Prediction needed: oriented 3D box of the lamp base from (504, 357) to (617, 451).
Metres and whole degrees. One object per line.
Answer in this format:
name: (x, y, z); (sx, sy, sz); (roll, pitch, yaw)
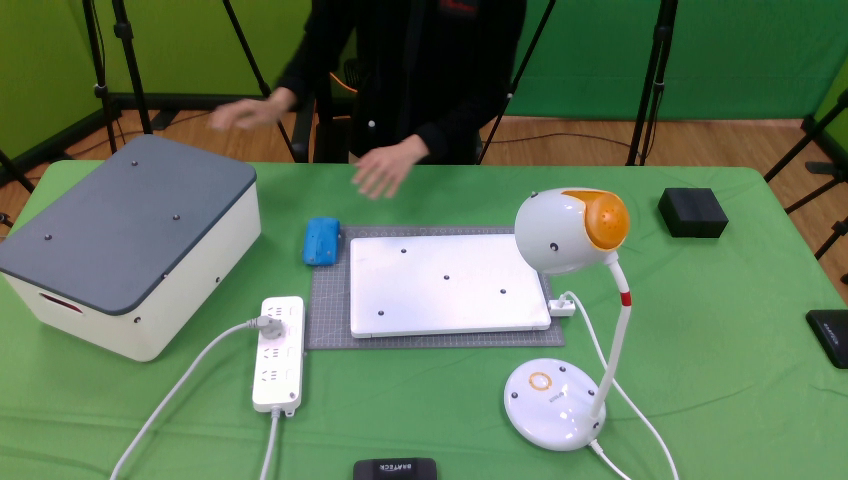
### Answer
lamp base: (0.220, 0.211, 0.903); (0.160, 0.181, 0.178); (-32, 59, -30)

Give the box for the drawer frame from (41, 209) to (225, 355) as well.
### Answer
drawer frame: (-0.490, 0.066, 1.043); (0.201, 0.083, 0.212); (16, 54, 13)

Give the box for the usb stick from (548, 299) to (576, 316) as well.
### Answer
usb stick: (0.239, 0.121, 1.084); (0.059, 0.027, 0.021); (-1, 52, -1)

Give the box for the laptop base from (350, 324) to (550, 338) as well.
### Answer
laptop base: (0.039, 0.081, 1.124); (0.355, 0.023, 0.234); (-2, 43, -6)

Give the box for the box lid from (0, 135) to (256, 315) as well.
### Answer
box lid: (-0.480, -0.044, 1.002); (0.263, 0.015, 0.370); (18, 47, 12)

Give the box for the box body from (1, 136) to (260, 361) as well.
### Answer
box body: (-0.482, 0.006, 1.056); (0.254, 0.161, 0.362); (17, 47, 12)

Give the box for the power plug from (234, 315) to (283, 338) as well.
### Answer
power plug: (-0.269, 0.143, 1.000); (0.072, 0.053, 0.035); (5, 47, 2)

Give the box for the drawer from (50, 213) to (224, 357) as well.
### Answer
drawer: (-0.492, 0.075, 1.057); (0.194, 0.073, 0.211); (18, 57, 10)

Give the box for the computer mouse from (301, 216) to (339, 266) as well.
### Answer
computer mouse: (-0.200, -0.002, 1.169); (0.063, 0.041, 0.116); (3, 50, -3)

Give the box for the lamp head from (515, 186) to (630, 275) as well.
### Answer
lamp head: (0.188, -0.013, 0.728); (0.112, 0.112, 0.122); (-25, 9, -25)

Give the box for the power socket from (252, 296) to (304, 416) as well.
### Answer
power socket: (-0.238, 0.181, 0.997); (0.072, 0.033, 0.225); (-3, 47, -5)

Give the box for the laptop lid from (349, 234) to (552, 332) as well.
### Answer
laptop lid: (0.040, 0.071, 1.117); (0.357, 0.013, 0.240); (0, 44, -5)
